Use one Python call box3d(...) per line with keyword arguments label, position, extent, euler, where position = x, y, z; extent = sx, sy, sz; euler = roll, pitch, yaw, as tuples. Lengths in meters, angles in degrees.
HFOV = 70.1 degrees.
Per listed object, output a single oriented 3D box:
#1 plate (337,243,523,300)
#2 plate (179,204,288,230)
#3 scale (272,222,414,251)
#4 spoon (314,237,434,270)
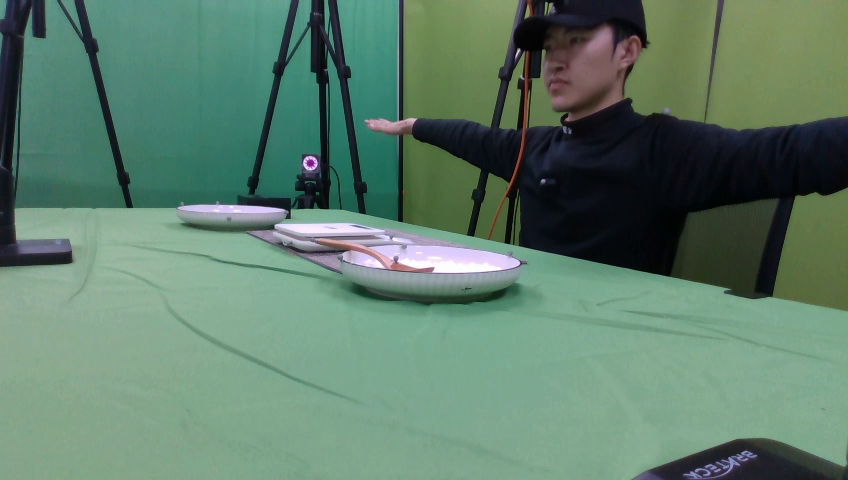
box3d(label="plate", position=(0.007, 0.035, 0.688), extent=(0.209, 0.038, 0.209), euler=(2, 6, 0))
box3d(label="plate", position=(-0.382, -0.046, 1.222), extent=(0.208, 0.039, 0.207), euler=(2, 7, 0))
box3d(label="scale", position=(-0.131, -0.008, 0.984), extent=(0.202, 0.031, 0.148), euler=(-2, 8, -32))
box3d(label="spoon", position=(-0.064, 0.015, 0.695), extent=(0.192, 0.021, 0.042), euler=(18, 17, 42))
